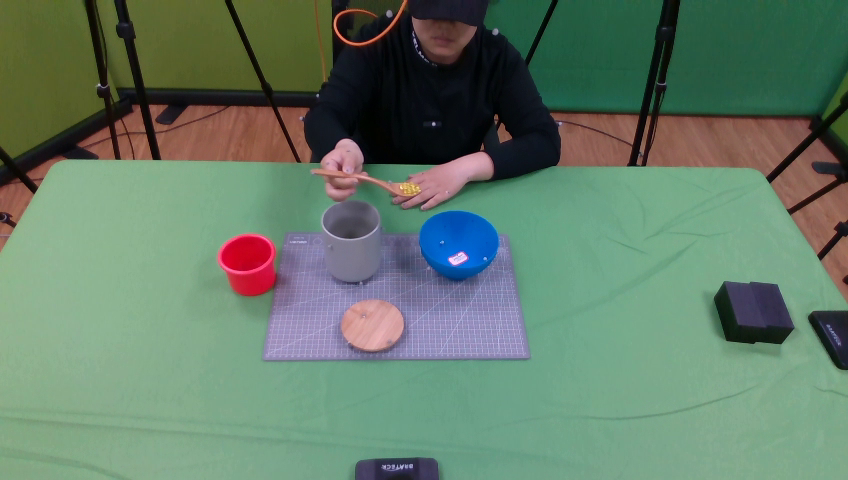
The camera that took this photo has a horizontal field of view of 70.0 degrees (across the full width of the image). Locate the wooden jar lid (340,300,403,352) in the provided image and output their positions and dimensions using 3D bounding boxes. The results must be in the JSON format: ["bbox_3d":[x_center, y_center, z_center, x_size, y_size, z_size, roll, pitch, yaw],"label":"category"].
[{"bbox_3d":[-0.090,0.150,1.046,0.108,0.021,0.107,3,47,-3],"label":"wooden jar lid"}]

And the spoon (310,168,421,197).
[{"bbox_3d":[-0.097,-0.101,1.030,0.194,0.022,0.041,12,38,-22],"label":"spoon"}]

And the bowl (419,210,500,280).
[{"bbox_3d":[0.062,0.022,1.140,0.151,0.077,0.150,2,46,-2],"label":"bowl"}]

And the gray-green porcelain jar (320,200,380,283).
[{"bbox_3d":[-0.132,0.007,1.106,0.106,0.127,0.105,2,46,-2],"label":"gray-green porcelain jar"}]
